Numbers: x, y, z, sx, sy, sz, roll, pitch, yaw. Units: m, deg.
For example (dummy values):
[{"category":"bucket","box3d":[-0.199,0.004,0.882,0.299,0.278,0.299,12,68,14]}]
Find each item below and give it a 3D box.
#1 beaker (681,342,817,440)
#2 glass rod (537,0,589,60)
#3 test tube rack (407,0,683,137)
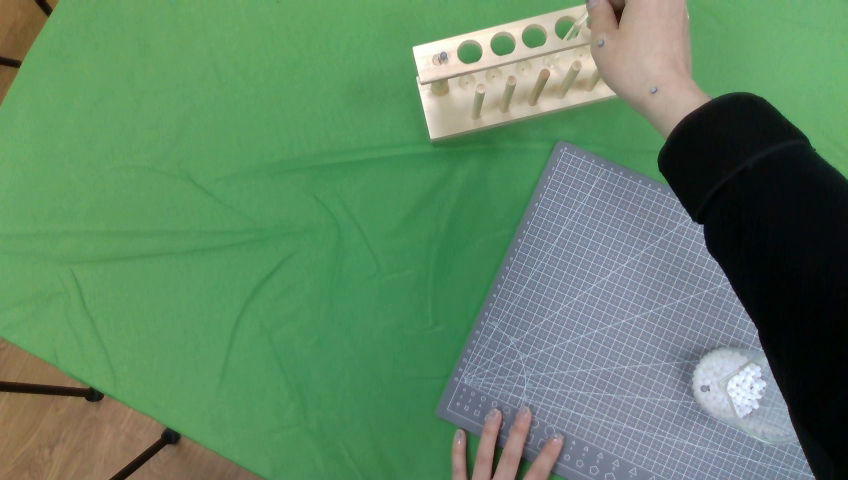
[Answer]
[{"category":"beaker","box3d":[0.279,0.128,0.539,0.084,0.100,0.074,13,85,3]},{"category":"glass rod","box3d":[0.130,-0.195,0.507,0.008,0.200,0.008,1,82,-9]},{"category":"test tube rack","box3d":[0.111,-0.166,0.572,0.242,0.085,0.066,-13,85,0]}]
